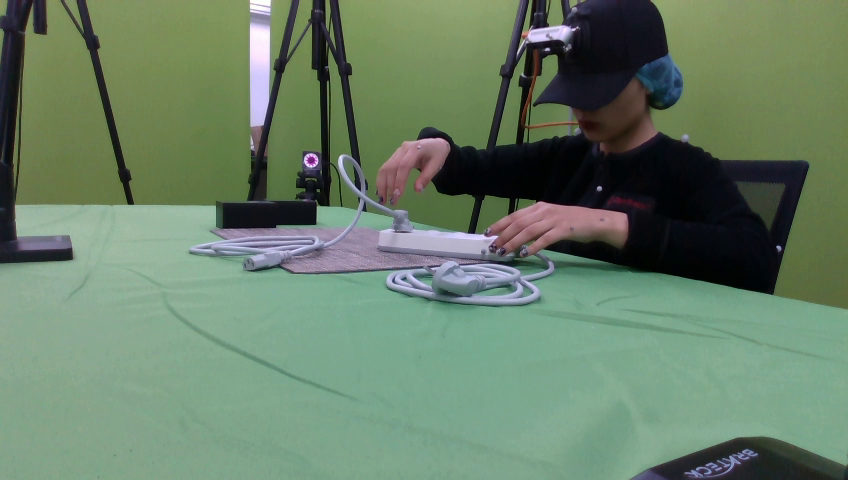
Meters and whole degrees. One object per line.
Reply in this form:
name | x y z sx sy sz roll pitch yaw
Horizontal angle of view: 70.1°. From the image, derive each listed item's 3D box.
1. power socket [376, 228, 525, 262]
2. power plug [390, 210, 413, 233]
power socket | 0.037 0.005 0.913 0.226 0.032 0.072 5 8 17
power plug | -0.042 -0.020 0.903 0.035 0.052 0.073 8 9 28
